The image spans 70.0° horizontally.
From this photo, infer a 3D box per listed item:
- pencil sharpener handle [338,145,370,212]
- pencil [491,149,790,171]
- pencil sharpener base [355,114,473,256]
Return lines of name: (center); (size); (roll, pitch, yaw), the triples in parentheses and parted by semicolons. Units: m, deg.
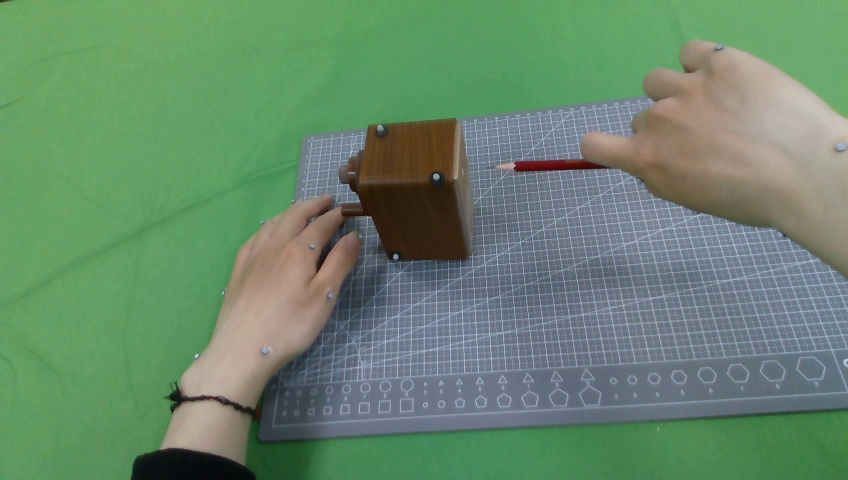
pencil sharpener handle: (-0.057, -0.043, 0.466); (0.030, 0.068, 0.035); (-1, 56, 10)
pencil: (0.143, -0.052, 0.409); (0.194, 0.012, 0.012); (-1, 56, 8)
pencil sharpener base: (-0.005, -0.038, 0.468); (0.076, 0.108, 0.061); (-1, 57, 10)
